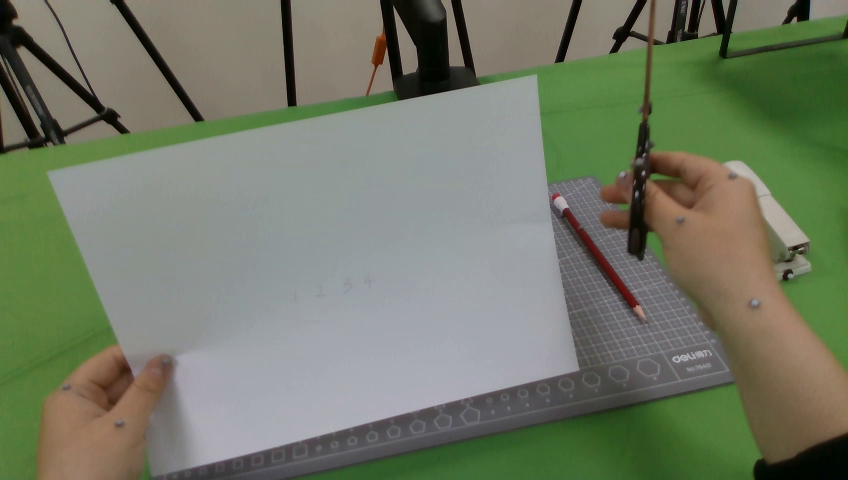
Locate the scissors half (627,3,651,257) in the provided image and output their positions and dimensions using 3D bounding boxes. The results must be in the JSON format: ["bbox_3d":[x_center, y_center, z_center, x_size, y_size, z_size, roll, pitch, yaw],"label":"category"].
[{"bbox_3d":[0.151,-0.076,0.423,0.013,0.175,0.040,3,5,15],"label":"scissors half"}]

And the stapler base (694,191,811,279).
[{"bbox_3d":[0.316,-0.015,0.589,0.041,0.025,0.129,-16,42,-8],"label":"stapler base"}]

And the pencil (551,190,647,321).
[{"bbox_3d":[0.165,0.009,0.584,0.012,0.012,0.192,-13,42,-8],"label":"pencil"}]

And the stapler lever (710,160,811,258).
[{"bbox_3d":[0.315,-0.033,0.571,0.027,0.040,0.116,-16,42,-8],"label":"stapler lever"}]

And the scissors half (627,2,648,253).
[{"bbox_3d":[0.145,-0.078,0.404,0.012,0.040,0.174,2,79,20],"label":"scissors half"}]
